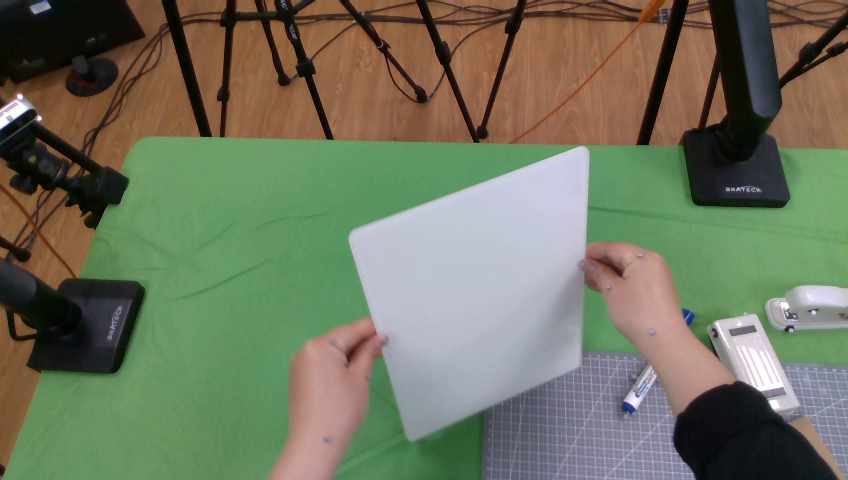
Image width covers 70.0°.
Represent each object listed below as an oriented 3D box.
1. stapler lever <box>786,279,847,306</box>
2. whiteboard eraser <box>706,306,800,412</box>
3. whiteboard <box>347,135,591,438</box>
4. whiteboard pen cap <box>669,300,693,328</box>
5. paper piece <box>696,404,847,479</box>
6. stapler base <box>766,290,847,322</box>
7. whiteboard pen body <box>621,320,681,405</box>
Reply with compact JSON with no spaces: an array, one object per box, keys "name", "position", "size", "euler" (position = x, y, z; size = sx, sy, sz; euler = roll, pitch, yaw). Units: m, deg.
[{"name":"stapler lever","position":[0.473,0.060,0.688],"size":[0.118,0.040,0.026],"euler":[-3,64,2]},{"name":"whiteboard eraser","position":[0.360,0.131,0.671],"size":[0.055,0.042,0.111],"euler":[-12,61,0]},{"name":"whiteboard","position":[0.038,0.026,0.629],"size":[0.217,0.308,0.142],"euler":[-20,41,-11]},{"name":"whiteboard pen cap","position":[0.303,0.088,0.712],"size":[0.018,0.018,0.033],"euler":[32,67,20]},{"name":"paper piece","position":[0.373,0.257,0.621],"size":[0.136,0.009,0.137],"euler":[-19,64,-1]},{"name":"stapler base","position":[0.473,0.072,0.709],"size":[0.130,0.024,0.041],"euler":[-2,64,1]},{"name":"whiteboard pen body","position":[0.266,0.129,0.693],"size":[0.017,0.017,0.140],"euler":[34,69,21]}]
